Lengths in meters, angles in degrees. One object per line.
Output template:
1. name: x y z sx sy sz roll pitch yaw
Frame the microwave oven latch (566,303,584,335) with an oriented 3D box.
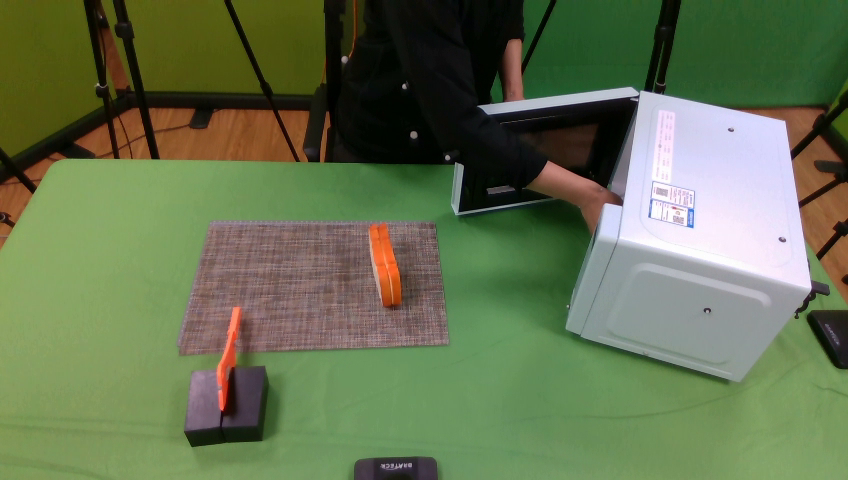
1. microwave oven latch: 0.268 0.126 1.059 0.030 0.029 0.079 16 46 12

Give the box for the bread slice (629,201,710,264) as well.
1. bread slice: 0.479 -0.021 1.172 0.134 0.018 0.106 -31 58 -17

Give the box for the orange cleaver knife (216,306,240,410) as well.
1. orange cleaver knife: -0.307 0.180 0.957 0.012 0.077 0.210 -2 25 -8

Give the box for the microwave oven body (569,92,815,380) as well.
1. microwave oven body: 0.468 -0.021 1.082 0.325 0.261 0.440 15 46 11

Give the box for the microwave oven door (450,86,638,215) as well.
1. microwave oven door: 0.235 -0.177 1.207 0.356 0.245 0.039 -10 47 -13

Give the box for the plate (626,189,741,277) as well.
1. plate: 0.487 -0.010 1.151 0.208 0.039 0.206 0 51 0
